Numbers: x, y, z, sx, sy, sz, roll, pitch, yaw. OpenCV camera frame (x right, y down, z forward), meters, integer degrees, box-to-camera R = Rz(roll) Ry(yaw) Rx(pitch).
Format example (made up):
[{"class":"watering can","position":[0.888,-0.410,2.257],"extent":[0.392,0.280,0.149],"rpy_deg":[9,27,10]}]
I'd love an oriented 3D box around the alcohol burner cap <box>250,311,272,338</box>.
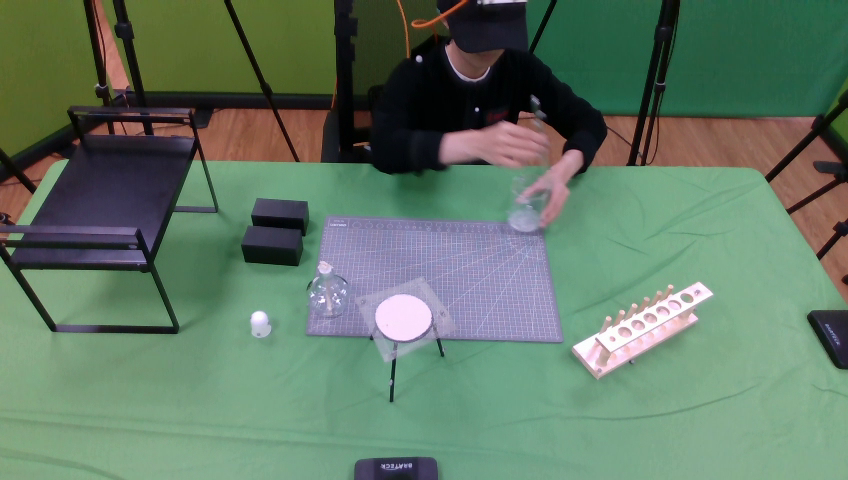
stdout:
[{"class":"alcohol burner cap","position":[-0.278,0.141,1.026],"extent":[0.034,0.048,0.033],"rpy_deg":[1,46,-1]}]

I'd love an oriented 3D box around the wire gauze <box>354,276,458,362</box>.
[{"class":"wire gauze","position":[-0.029,0.113,0.912],"extent":[0.121,0.011,0.124],"rpy_deg":[-18,49,-19]}]

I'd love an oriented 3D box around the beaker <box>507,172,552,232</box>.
[{"class":"beaker","position":[0.205,-0.073,1.194],"extent":[0.084,0.101,0.073],"rpy_deg":[-8,48,-7]}]

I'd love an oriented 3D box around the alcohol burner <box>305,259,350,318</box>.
[{"class":"alcohol burner","position":[-0.166,0.078,1.040],"extent":[0.078,0.120,0.077],"rpy_deg":[1,44,-1]}]

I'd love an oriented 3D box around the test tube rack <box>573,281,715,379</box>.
[{"class":"test tube rack","position":[0.378,0.140,1.038],"extent":[0.242,0.085,0.066],"rpy_deg":[-22,51,-22]}]

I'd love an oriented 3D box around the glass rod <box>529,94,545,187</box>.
[{"class":"glass rod","position":[0.198,-0.167,1.048],"extent":[0.008,0.201,0.008],"rpy_deg":[-10,45,10]}]

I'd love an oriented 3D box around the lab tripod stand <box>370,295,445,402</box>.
[{"class":"lab tripod stand","position":[-0.036,0.160,0.959],"extent":[0.148,0.132,0.147],"rpy_deg":[1,46,0]}]
